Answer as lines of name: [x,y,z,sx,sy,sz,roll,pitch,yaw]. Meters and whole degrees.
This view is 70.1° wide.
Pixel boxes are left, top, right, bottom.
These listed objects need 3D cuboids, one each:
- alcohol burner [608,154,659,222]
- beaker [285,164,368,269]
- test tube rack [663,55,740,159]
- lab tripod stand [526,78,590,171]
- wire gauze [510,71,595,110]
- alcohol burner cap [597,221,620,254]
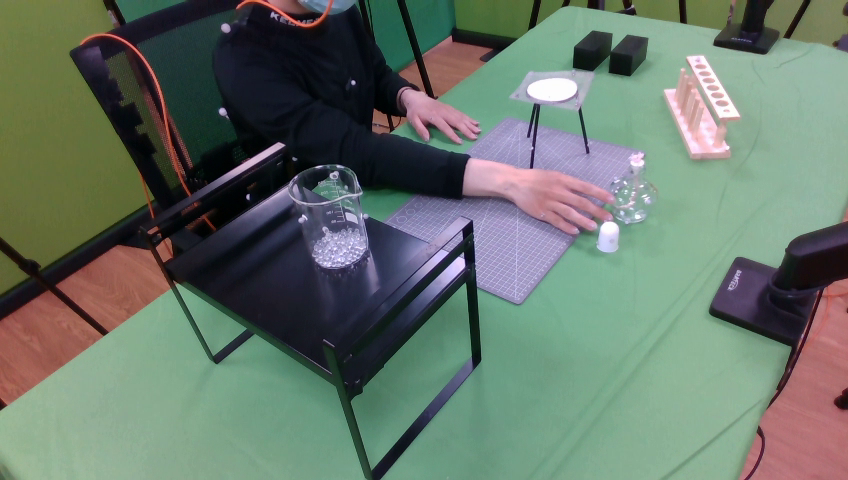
alcohol burner: [0.333,-0.087,0.954,0.078,0.119,0.077,-3,42,3]
beaker: [-0.101,-0.024,0.676,0.083,0.101,0.074,8,43,17]
test tube rack: [0.518,-0.256,1.144,0.066,0.085,0.241,-1,41,8]
lab tripod stand: [0.228,-0.215,1.097,0.148,0.132,0.147,-6,40,5]
wire gauze: [0.224,-0.266,1.053,0.124,0.011,0.121,12,44,23]
alcohol burner cap: [0.283,-0.007,0.923,0.034,0.048,0.033,-5,39,4]
